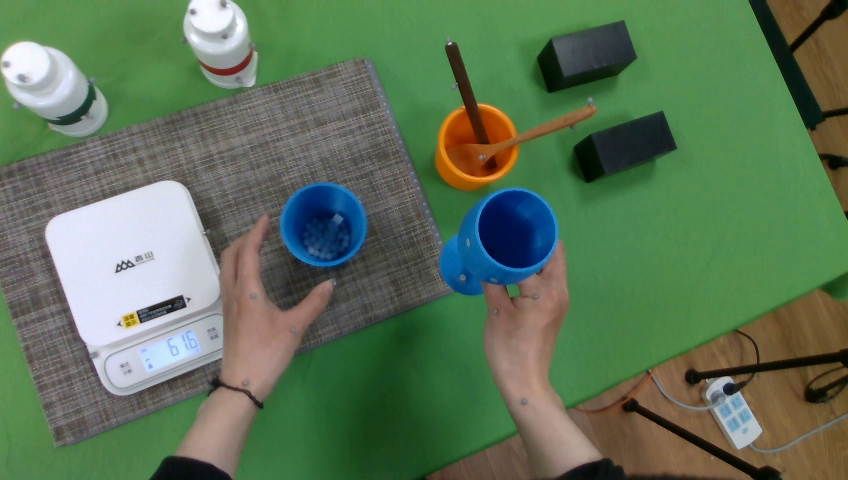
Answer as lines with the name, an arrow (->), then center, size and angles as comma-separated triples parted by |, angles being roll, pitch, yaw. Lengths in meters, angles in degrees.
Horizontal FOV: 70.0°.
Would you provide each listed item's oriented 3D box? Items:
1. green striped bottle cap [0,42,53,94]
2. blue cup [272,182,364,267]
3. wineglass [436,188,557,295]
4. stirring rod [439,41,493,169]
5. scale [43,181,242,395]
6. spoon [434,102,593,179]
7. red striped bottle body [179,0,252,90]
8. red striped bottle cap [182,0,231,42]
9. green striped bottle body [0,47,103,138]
green striped bottle cap -> -0.368, -0.159, 0.557 | 0.044, 0.020, 0.044 | 1, 82, -8
blue cup -> -0.108, -0.010, 0.644 | 0.093, 0.100, 0.092 | 1, 83, -8
wineglass -> 0.054, 0.008, 0.515 | 0.074, 0.172, 0.073 | 1, 80, -7
stirring rod -> 0.049, -0.142, 0.666 | 0.014, 0.178, 0.005 | -7, 49, 19
scale -> -0.295, 0.048, 0.641 | 0.149, 0.031, 0.200 | -22, 87, -11
spoon -> 0.094, -0.110, 0.672 | 0.021, 0.193, 0.041 | -26, 97, -55
red striped bottle body -> -0.222, -0.211, 0.646 | 0.063, 0.120, 0.063 | 1, 82, -9
red striped bottle cap -> -0.213, -0.218, 0.594 | 0.044, 0.018, 0.044 | 2, 80, -8
green striped bottle body -> -0.377, -0.150, 0.611 | 0.063, 0.119, 0.063 | 1, 82, -9
